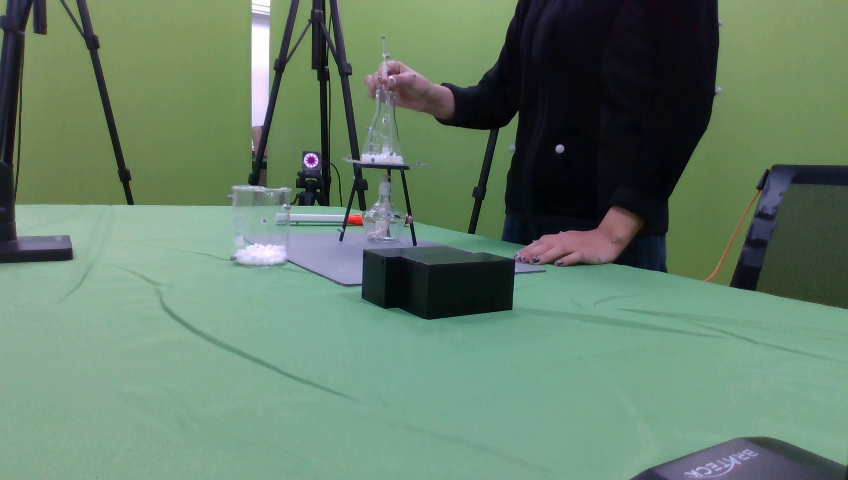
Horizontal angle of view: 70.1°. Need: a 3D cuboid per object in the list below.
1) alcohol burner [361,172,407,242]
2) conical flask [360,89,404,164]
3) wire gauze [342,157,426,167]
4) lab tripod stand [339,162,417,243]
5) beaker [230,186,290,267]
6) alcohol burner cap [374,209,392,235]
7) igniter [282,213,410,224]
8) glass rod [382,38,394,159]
[{"bbox_3d":[-0.067,-0.056,1.030,0.078,0.119,0.078,4,9,0],"label":"alcohol burner"},{"bbox_3d":[-0.067,-0.189,1.010,0.075,0.122,0.075,4,6,0],"label":"conical flask"},{"bbox_3d":[-0.065,-0.130,1.017,0.122,0.011,0.124,2,5,-27],"label":"wire gauze"},{"bbox_3d":[-0.067,-0.065,1.027,0.148,0.131,0.148,4,7,0],"label":"lab tripod stand"},{"bbox_3d":[-0.209,-0.019,0.778,0.074,0.100,0.084,3,6,4],"label":"beaker"},{"bbox_3d":[-0.078,-0.035,1.148,0.034,0.048,0.034,2,7,0],"label":"alcohol burner cap"},{"bbox_3d":[-0.159,-0.046,1.287,0.278,0.025,0.057,-1,-3,-21],"label":"igniter"},{"bbox_3d":[-0.059,-0.234,0.998,0.008,0.199,0.008,-4,1,0],"label":"glass rod"}]
